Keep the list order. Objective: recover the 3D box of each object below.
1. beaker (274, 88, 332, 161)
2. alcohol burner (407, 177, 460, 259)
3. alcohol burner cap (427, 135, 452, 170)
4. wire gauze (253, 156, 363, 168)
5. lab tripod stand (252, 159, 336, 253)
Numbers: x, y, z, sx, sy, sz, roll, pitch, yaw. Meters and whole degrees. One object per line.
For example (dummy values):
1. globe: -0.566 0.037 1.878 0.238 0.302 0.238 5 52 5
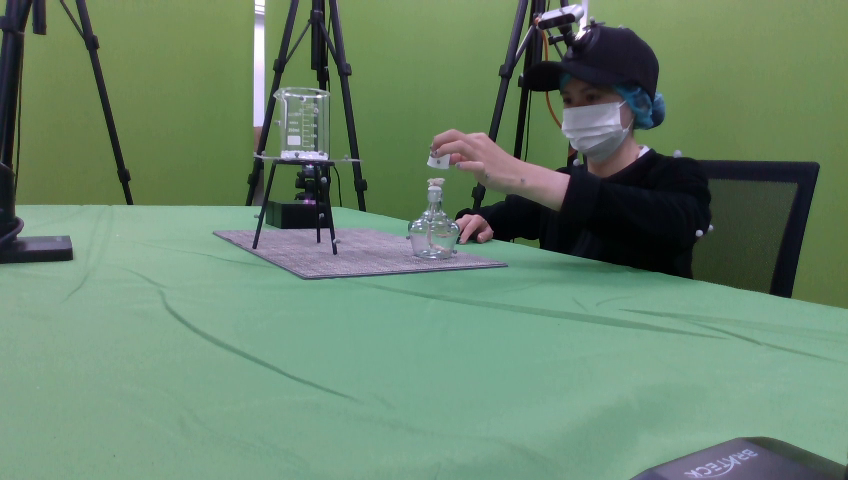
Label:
1. beaker: -0.177 -0.165 0.879 0.084 0.100 0.074 2 5 1
2. alcohol burner: 0.015 -0.032 0.882 0.078 0.119 0.078 2 5 0
3. alcohol burner cap: 0.024 -0.123 0.852 0.034 0.048 0.034 10 18 -3
4. wire gauze: -0.172 -0.117 0.891 0.122 0.011 0.124 0 3 -38
5. lab tripod stand: -0.180 -0.053 0.900 0.148 0.131 0.148 1 6 0
